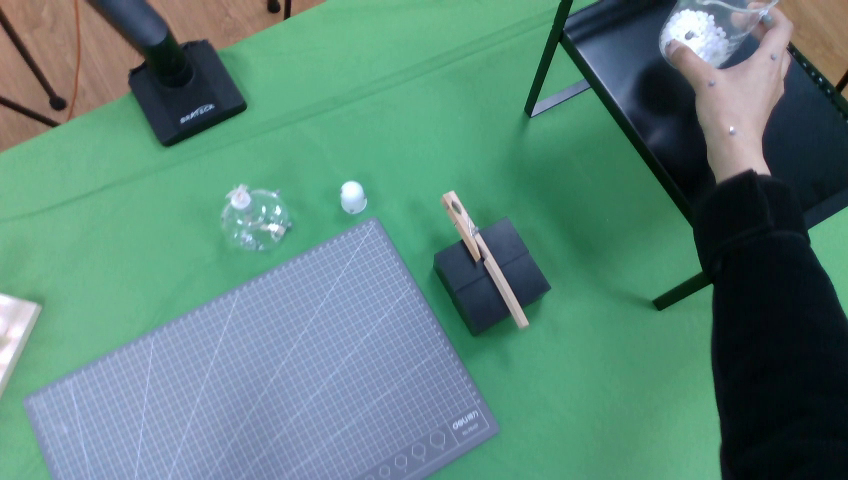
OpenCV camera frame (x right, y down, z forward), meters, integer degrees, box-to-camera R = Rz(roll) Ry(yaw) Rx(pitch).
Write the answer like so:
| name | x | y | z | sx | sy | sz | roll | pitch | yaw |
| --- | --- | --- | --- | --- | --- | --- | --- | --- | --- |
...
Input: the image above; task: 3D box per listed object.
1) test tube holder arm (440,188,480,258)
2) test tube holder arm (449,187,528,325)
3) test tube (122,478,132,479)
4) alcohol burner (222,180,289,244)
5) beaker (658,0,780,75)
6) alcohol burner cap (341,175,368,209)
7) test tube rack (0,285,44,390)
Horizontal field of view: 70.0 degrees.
| name | x | y | z | sx | sy | sz | roll | pitch | yaw |
| --- | --- | --- | --- | --- | --- | --- | --- | --- | --- |
| test tube holder arm | 0.044 | -0.020 | 0.699 | 0.010 | 0.015 | 0.087 | -24 | 75 | -21 |
| test tube holder arm | 0.070 | 0.016 | 0.691 | 0.013 | 0.015 | 0.177 | -24 | 76 | -21 |
| test tube | -0.213 | 0.218 | 0.504 | 0.017 | 0.151 | 0.017 | -2 | 60 | 4 |
| alcohol burner | -0.197 | -0.038 | 0.698 | 0.078 | 0.120 | 0.077 | 1 | 71 | -2 |
| beaker | 0.260 | -0.203 | 0.547 | 0.084 | 0.101 | 0.073 | -30 | 75 | -10 |
| alcohol burner cap | -0.087 | -0.061 | 0.747 | 0.034 | 0.048 | 0.033 | 1 | 72 | -2 |
| test tube rack | -0.510 | 0.157 | 0.640 | 0.067 | 0.085 | 0.241 | 15 | 73 | 3 |
